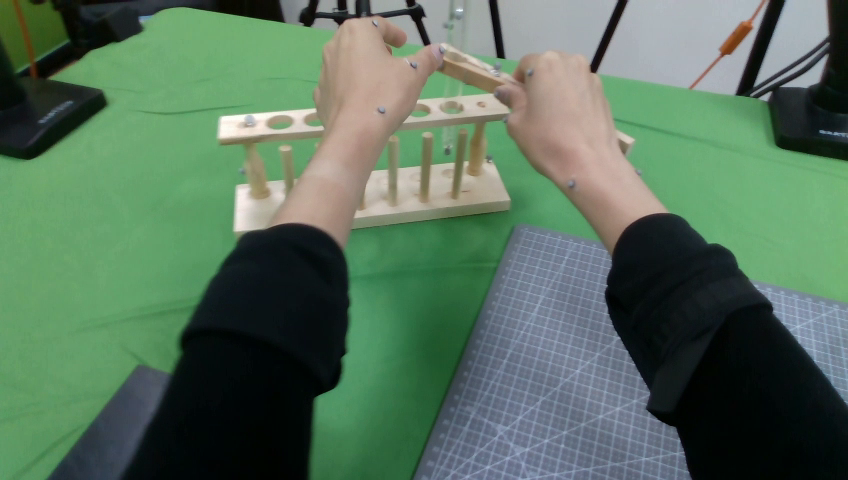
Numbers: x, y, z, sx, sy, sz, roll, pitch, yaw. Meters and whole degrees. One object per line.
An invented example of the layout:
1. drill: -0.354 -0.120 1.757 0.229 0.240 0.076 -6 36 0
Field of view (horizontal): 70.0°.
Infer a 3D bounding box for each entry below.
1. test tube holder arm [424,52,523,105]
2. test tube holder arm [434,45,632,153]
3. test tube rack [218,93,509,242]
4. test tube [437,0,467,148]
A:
1. test tube holder arm: 0.039 -0.129 0.483 0.087 0.015 0.010 25 54 17
2. test tube holder arm: 0.079 -0.112 0.471 0.177 0.015 0.013 31 57 21
3. test tube rack: -0.047 -0.065 0.531 0.243 0.086 0.066 -7 44 -9
4. test tube: 0.022 -0.138 0.498 0.017 0.151 0.017 2 47 -2
